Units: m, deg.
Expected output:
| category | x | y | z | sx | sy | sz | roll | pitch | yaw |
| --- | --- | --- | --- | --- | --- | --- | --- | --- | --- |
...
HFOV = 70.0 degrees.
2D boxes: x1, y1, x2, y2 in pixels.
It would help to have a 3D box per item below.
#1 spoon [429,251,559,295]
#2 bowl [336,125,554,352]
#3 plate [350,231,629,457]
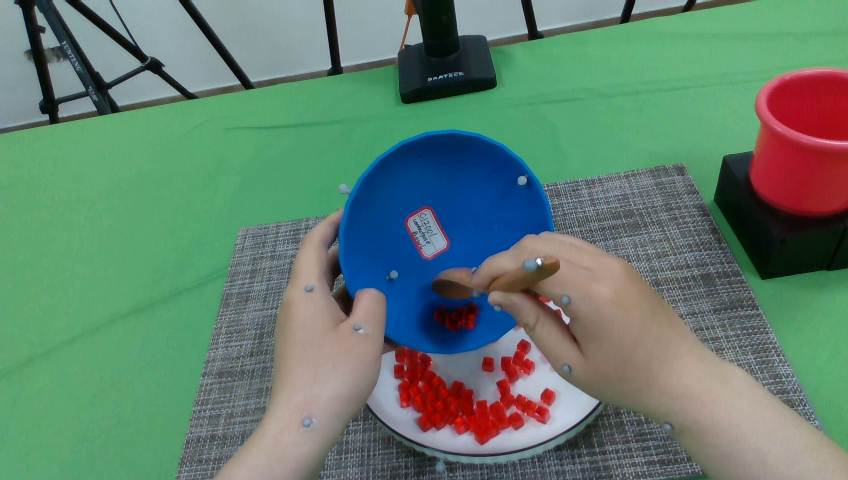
| category | x | y | z | sx | sy | sz | roll | pitch | yaw |
| --- | --- | --- | --- | --- | --- | --- | --- | --- | --- |
| spoon | 0.038 | 0.023 | 0.353 | 0.042 | 0.193 | 0.021 | 9 | 84 | -10 |
| bowl | 0.008 | -0.003 | 0.433 | 0.151 | 0.152 | 0.076 | -25 | 12 | -12 |
| plate | 0.048 | 0.071 | 0.466 | 0.207 | 0.039 | 0.205 | -6 | 46 | 7 |
